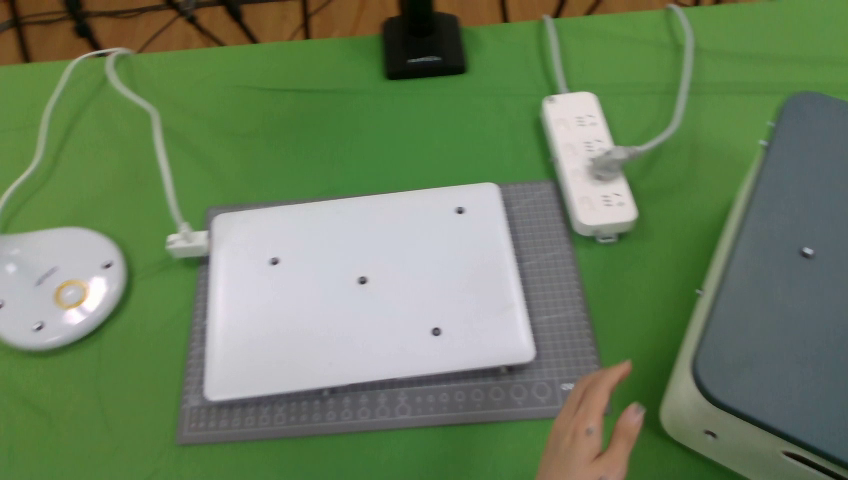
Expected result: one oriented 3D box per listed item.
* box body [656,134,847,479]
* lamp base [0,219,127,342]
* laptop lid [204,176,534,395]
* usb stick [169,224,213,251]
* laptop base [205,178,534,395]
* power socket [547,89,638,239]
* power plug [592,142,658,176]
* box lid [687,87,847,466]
[{"bbox_3d":[0.409,0.065,0.585,0.253,0.162,0.362,25,64,16],"label":"box body"},{"bbox_3d":[-0.446,0.001,0.649,0.178,0.182,0.160,19,62,17],"label":"lamp base"},{"bbox_3d":[-0.069,0.042,0.689,0.357,0.013,0.239,-5,62,0],"label":"laptop lid"},{"bbox_3d":[-0.269,-0.003,0.723,0.059,0.027,0.021,-2,54,-3],"label":"usb stick"},{"bbox_3d":[-0.068,0.046,0.700,0.354,0.023,0.233,-7,63,-1],"label":"laptop base"},{"bbox_3d":[0.210,-0.105,0.768,0.072,0.033,0.224,-5,59,-2],"label":"power socket"},{"bbox_3d":[0.241,-0.092,0.733,0.072,0.053,0.035,5,59,4],"label":"power plug"},{"bbox_3d":[0.407,0.026,0.520,0.262,0.015,0.370,25,64,17],"label":"box lid"}]
